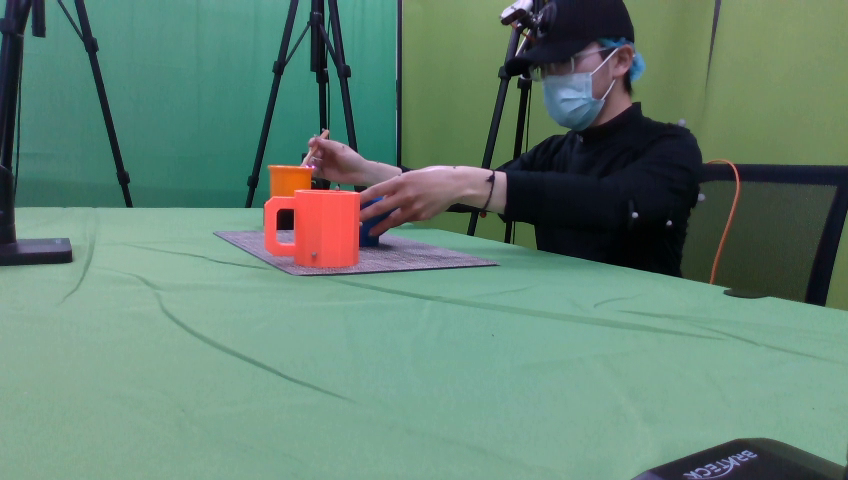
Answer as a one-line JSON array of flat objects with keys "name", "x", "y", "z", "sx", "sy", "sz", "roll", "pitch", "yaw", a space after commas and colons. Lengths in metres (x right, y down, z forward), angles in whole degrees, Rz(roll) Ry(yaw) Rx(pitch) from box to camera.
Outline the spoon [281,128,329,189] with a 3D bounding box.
[{"name": "spoon", "x": -0.239, "y": -0.171, "z": 1.252, "sx": 0.041, "sy": 0.021, "sz": 0.194, "roll": 14, "pitch": 55, "yaw": 14}]

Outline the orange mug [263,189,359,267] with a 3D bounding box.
[{"name": "orange mug", "x": -0.147, "y": -0.019, "z": 0.795, "sx": 0.127, "sy": 0.100, "sz": 0.083, "roll": 5, "pitch": 6, "yaw": -19}]

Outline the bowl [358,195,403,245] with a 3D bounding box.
[{"name": "bowl", "x": -0.111, "y": -0.035, "z": 1.008, "sx": 0.151, "sy": 0.077, "sz": 0.151, "roll": 2, "pitch": 6, "yaw": 0}]
